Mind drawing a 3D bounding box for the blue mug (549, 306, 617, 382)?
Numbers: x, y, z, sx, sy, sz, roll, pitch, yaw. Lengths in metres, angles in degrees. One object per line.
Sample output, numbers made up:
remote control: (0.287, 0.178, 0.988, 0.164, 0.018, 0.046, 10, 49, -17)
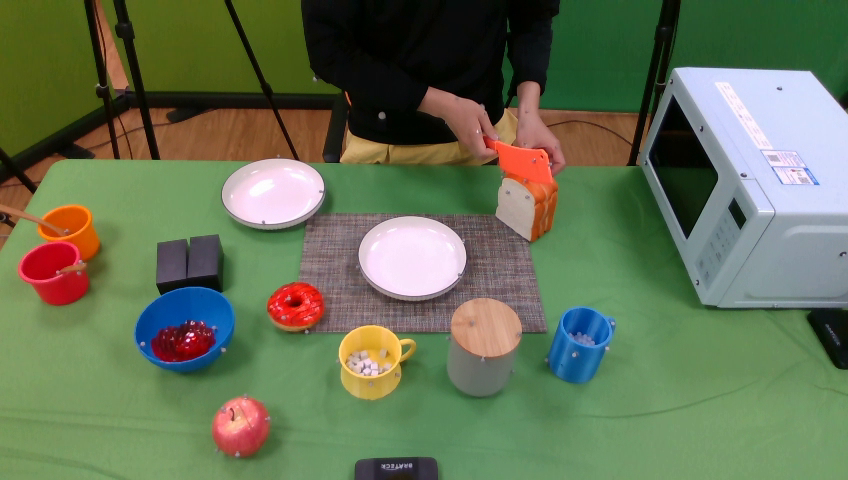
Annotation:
blue mug: (0.269, 0.166, 0.998, 0.116, 0.106, 0.082, -19, 51, -21)

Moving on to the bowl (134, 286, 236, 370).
bowl: (-0.377, 0.155, 0.981, 0.151, 0.077, 0.150, 2, 46, -2)

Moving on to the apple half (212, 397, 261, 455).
apple half: (-0.276, 0.276, 0.877, 0.053, 0.075, 0.080, -29, 58, -21)

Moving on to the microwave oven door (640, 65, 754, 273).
microwave oven door: (0.523, -0.147, 1.193, 0.039, 0.245, 0.353, 0, 47, -3)

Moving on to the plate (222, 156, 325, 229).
plate: (-0.308, -0.095, 1.251, 0.209, 0.038, 0.208, 2, 46, -2)

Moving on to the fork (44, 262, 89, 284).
fork: (-0.598, 0.054, 1.014, 0.207, 0.019, 0.028, -15, 29, 45)

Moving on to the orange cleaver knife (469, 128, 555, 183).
orange cleaver knife: (0.166, -0.164, 1.164, 0.012, 0.077, 0.210, -32, 41, -29)

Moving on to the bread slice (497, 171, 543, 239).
bread slice: (0.188, -0.074, 1.199, 0.019, 0.132, 0.104, -35, 56, -26)

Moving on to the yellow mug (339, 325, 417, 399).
yellow mug: (-0.072, 0.190, 0.978, 0.131, 0.064, 0.099, -17, 50, -20)

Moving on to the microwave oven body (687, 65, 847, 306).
microwave oven body: (0.669, -0.111, 1.176, 0.326, 0.261, 0.439, 0, 46, -3)

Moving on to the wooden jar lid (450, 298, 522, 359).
wooden jar lid: (0.093, 0.135, 0.914, 0.108, 0.021, 0.107, 2, 48, -3)

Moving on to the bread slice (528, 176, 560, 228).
bread slice: (0.228, -0.094, 1.224, 0.018, 0.135, 0.106, -35, 61, -27)

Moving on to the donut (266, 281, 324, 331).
donut: (-0.222, 0.114, 1.049, 0.099, 0.048, 0.098, 2, 46, -2)

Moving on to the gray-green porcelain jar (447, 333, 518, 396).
gray-green porcelain jar: (0.091, 0.178, 0.960, 0.106, 0.127, 0.105, 2, 46, -2)

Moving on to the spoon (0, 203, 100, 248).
spoon: (-0.683, -0.031, 1.088, 0.195, 0.021, 0.041, 33, 33, -38)

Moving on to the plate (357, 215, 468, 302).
plate: (-0.022, 0.037, 1.141, 0.208, 0.039, 0.206, 2, 46, -2)

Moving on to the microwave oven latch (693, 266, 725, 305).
microwave oven latch: (0.523, 0.082, 1.115, 0.030, 0.029, 0.078, 3, 46, 0)

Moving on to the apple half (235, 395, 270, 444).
apple half: (-0.245, 0.259, 0.893, 0.033, 0.082, 0.081, -29, 55, -22)
